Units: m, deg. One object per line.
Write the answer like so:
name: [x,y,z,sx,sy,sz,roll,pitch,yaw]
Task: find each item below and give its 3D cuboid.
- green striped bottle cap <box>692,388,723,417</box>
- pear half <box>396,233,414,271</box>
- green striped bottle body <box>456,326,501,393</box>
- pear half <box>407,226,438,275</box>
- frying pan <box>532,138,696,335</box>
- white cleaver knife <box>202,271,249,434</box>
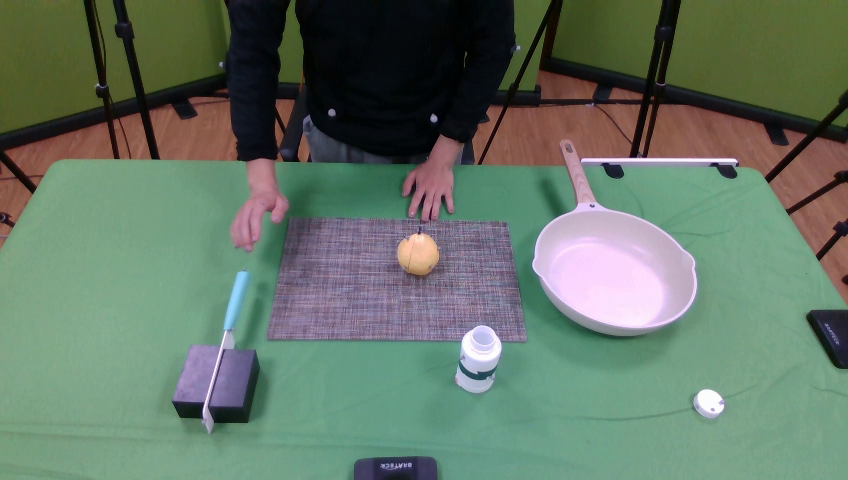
green striped bottle cap: [0.460,0.263,0.984,0.044,0.020,0.044,3,46,-3]
pear half: [-0.037,0.018,1.125,0.031,0.088,0.070,5,51,-1]
green striped bottle body: [0.086,0.185,0.959,0.063,0.120,0.063,2,46,-2]
pear half: [0.000,0.016,1.116,0.056,0.110,0.076,5,51,-1]
frying pan: [0.336,-0.024,1.190,0.307,0.103,0.484,-2,55,-7]
white cleaver knife: [-0.322,0.168,0.980,0.021,0.066,0.284,7,48,-6]
